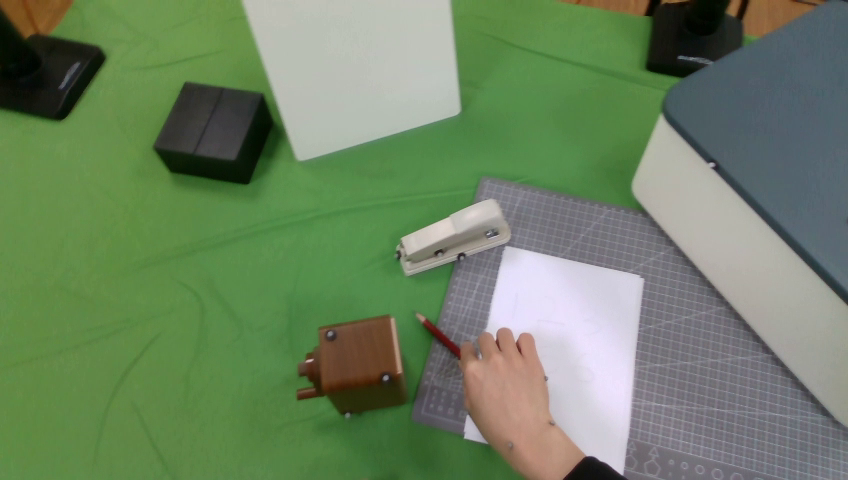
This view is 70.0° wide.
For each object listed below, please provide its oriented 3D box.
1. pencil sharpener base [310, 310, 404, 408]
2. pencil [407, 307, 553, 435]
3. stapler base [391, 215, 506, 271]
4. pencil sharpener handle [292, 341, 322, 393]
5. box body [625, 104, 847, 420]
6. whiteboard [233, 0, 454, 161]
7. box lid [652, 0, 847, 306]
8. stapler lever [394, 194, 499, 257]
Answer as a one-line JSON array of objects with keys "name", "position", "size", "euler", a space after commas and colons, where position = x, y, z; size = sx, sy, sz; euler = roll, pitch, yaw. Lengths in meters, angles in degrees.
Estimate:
[{"name": "pencil sharpener base", "position": [-0.063, 0.116, 0.577], "size": [0.077, 0.108, 0.061], "euler": [-9, 64, -3]}, {"name": "pencil", "position": [0.053, 0.130, 0.620], "size": [0.192, 0.012, 0.012], "euler": [39, 70, 19]}, {"name": "stapler base", "position": [0.028, -0.006, 0.681], "size": [0.130, 0.024, 0.041], "euler": [-19, 60, -5]}, {"name": "pencil sharpener handle", "position": [-0.113, 0.123, 0.561], "size": [0.031, 0.068, 0.035], "euler": [-10, 49, -3]}, {"name": "box body", "position": [0.417, -0.032, 0.610], "size": [0.254, 0.161, 0.361], "euler": [-30, 66, -14]}, {"name": "whiteboard", "position": [-0.103, -0.282, 0.701], "size": [0.217, 0.308, 0.142], "euler": [-18, 45, -7]}, {"name": "box lid", "position": [0.414, -0.067, 0.545], "size": [0.263, 0.015, 0.368], "euler": [-30, 67, -14]}, {"name": "stapler lever", "position": [0.025, -0.016, 0.659], "size": [0.118, 0.040, 0.026], "euler": [-19, 60, -5]}]
